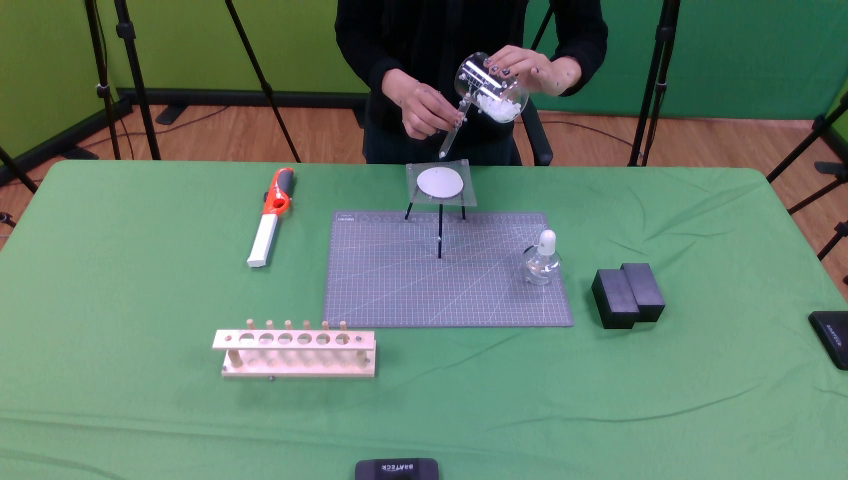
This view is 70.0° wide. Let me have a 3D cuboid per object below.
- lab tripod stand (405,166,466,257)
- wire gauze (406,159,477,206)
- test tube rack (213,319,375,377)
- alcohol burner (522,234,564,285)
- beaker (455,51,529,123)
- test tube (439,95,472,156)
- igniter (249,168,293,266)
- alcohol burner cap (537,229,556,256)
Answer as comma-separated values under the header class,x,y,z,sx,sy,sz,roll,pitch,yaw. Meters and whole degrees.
class,x,y,z,sx,sy,sz,roll,pitch,yaw
lab tripod stand,0.030,-0.063,1.180,0.148,0.132,0.147,3,47,-3
wire gauze,0.031,-0.108,1.129,0.125,0.011,0.120,-1,48,-5
test tube rack,-0.202,0.170,0.977,0.242,0.085,0.066,1,46,-3
alcohol burner,0.223,0.027,1.120,0.078,0.119,0.077,2,48,-2
beaker,0.105,-0.232,0.934,0.074,0.084,0.099,-15,47,-36
test tube,0.052,-0.193,1.044,0.017,0.150,0.017,8,58,-13
igniter,-0.307,-0.055,1.225,0.057,0.025,0.275,-3,45,6
alcohol burner cap,0.223,0.001,1.095,0.034,0.048,0.033,-1,44,1
